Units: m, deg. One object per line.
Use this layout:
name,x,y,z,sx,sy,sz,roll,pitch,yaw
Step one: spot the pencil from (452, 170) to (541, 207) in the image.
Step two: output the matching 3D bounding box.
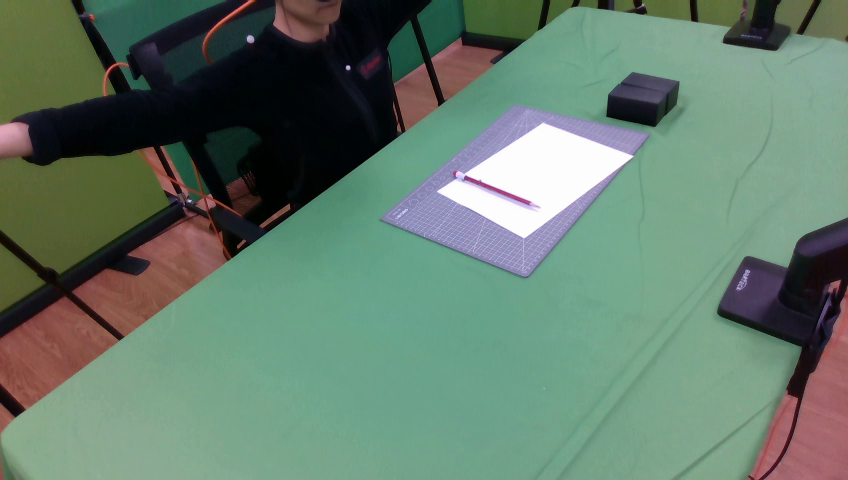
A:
pencil,0.125,-0.091,1.069,0.192,0.012,0.012,26,52,35
